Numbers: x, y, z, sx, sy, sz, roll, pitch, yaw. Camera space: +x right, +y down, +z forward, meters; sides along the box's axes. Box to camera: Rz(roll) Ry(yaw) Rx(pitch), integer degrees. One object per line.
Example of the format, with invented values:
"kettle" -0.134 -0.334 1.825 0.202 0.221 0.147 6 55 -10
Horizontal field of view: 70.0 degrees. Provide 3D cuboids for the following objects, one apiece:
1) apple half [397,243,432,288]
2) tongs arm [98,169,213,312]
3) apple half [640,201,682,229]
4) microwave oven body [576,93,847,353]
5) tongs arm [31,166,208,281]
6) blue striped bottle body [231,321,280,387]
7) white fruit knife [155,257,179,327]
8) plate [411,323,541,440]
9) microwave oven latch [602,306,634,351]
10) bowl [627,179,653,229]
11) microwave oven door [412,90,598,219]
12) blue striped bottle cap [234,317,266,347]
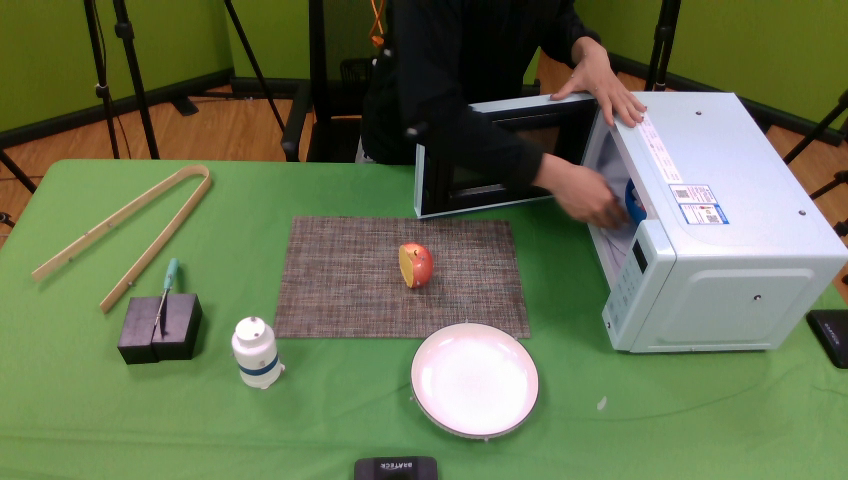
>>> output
"apple half" -0.013 0.047 1.115 0.053 0.075 0.080 -10 43 -21
"tongs arm" -0.503 -0.012 1.167 0.028 0.028 0.385 11 45 11
"apple half" 0.456 -0.056 1.163 0.081 0.033 0.081 -4 36 3
"microwave oven body" 0.475 -0.042 1.109 0.326 0.261 0.438 -1 45 -4
"tongs arm" -0.578 -0.040 1.185 0.050 0.026 0.384 23 47 18
"blue striped bottle body" -0.262 0.171 0.944 0.063 0.121 0.062 2 46 -2
"white fruit knife" -0.440 0.085 1.037 0.016 0.027 0.206 10 26 -19
"plate" 0.082 0.228 0.976 0.208 0.039 0.206 2 45 -2
"microwave oven latch" 0.332 0.153 1.044 0.030 0.029 0.078 0 45 -4
"bowl" 0.458 -0.048 1.171 0.151 0.077 0.150 8 35 -5
"microwave oven door" 0.155 -0.167 1.200 0.356 0.245 0.039 -10 47 -14
"blue striped bottle cap" -0.260 0.137 0.906 0.044 0.021 0.044 5 42 -4
